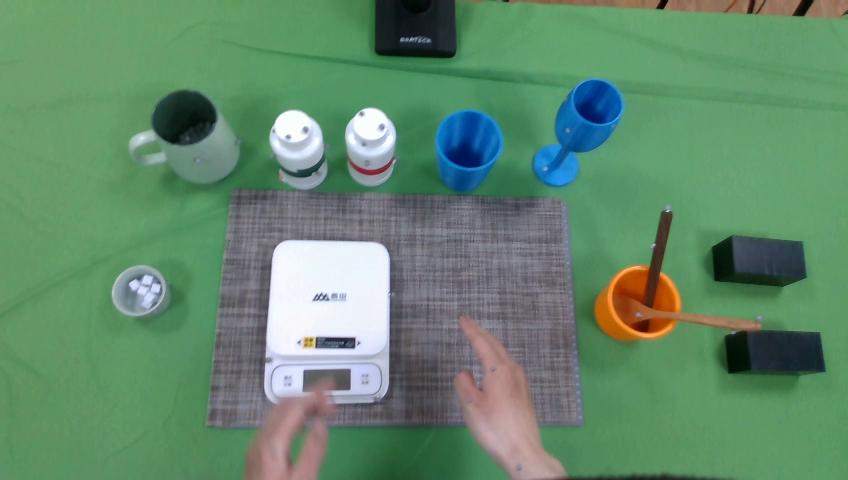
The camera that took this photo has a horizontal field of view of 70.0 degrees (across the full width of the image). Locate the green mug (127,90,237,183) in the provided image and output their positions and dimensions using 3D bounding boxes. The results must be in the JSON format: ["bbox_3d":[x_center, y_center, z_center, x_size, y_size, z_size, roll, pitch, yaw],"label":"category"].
[{"bbox_3d":[-0.308,-0.124,0.767,0.125,0.105,0.092,-21,76,-10],"label":"green mug"}]

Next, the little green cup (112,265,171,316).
[{"bbox_3d":[-0.342,0.064,0.741,0.061,0.039,0.061,2,73,-6],"label":"little green cup"}]

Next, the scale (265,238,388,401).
[{"bbox_3d":[-0.119,0.096,0.752,0.149,0.032,0.199,0,74,-5],"label":"scale"}]

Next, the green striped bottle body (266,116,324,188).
[{"bbox_3d":[-0.163,-0.117,0.770,0.063,0.120,0.063,1,72,-4],"label":"green striped bottle body"}]

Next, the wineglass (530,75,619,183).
[{"bbox_3d":[0.189,-0.137,0.780,0.074,0.173,0.073,1,72,-4],"label":"wineglass"}]

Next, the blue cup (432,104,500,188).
[{"bbox_3d":[0.050,-0.114,0.799,0.093,0.100,0.092,1,73,-2],"label":"blue cup"}]

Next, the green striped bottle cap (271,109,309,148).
[{"bbox_3d":[-0.160,-0.133,0.720,0.044,0.020,0.044,2,72,-5],"label":"green striped bottle cap"}]

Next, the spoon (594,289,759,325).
[{"bbox_3d":[0.299,0.087,0.736,0.022,0.192,0.041,24,75,-43],"label":"spoon"}]

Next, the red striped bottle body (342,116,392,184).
[{"bbox_3d":[-0.074,-0.123,0.780,0.063,0.120,0.062,2,72,-5],"label":"red striped bottle body"}]

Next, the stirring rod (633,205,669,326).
[{"bbox_3d":[0.280,0.036,0.749,0.014,0.177,0.006,5,32,10],"label":"stirring rod"}]

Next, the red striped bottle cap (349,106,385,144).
[{"bbox_3d":[-0.069,-0.139,0.730,0.044,0.018,0.044,1,75,-4],"label":"red striped bottle cap"}]
